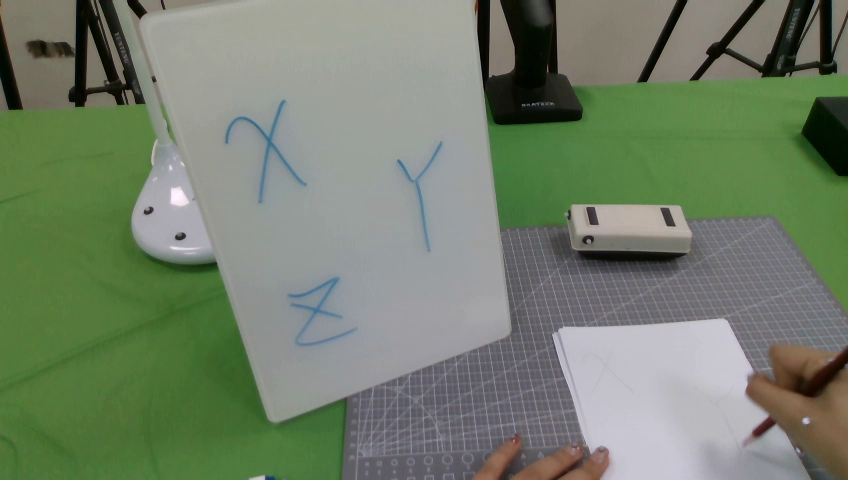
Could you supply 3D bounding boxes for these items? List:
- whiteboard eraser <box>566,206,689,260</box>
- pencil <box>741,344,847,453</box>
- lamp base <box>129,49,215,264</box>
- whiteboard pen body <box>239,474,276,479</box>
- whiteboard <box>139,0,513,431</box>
[{"bbox_3d":[0.202,-0.007,0.609,0.112,0.042,0.055,2,42,3],"label":"whiteboard eraser"},{"bbox_3d":[0.252,0.086,0.382,0.012,0.195,0.012,8,42,-7],"label":"pencil"},{"bbox_3d":[-0.245,-0.093,0.617,0.177,0.182,0.160,25,47,31],"label":"lamp base"},{"bbox_3d":[-0.174,0.185,0.420,0.141,0.017,0.017,-9,41,-9],"label":"whiteboard pen body"},{"bbox_3d":[-0.068,-0.041,0.501,0.218,0.307,0.142,-17,24,-16],"label":"whiteboard"}]
